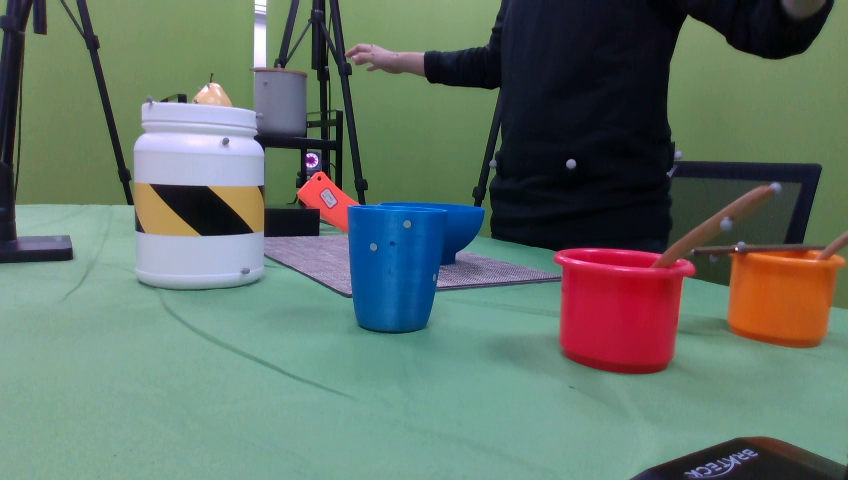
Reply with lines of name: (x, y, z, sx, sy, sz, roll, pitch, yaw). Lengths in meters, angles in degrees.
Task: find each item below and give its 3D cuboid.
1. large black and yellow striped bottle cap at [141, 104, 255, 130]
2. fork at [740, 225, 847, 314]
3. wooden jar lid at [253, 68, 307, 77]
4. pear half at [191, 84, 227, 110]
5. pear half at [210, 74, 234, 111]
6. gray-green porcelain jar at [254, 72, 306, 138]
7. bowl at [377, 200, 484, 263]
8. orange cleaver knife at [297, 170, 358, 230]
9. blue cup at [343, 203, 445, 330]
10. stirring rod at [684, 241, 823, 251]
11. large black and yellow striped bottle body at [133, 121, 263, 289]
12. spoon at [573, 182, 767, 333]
large black and yellow striped bottle cap: (-0.241, -0.131, 0.650, 0.115, 0.019, 0.115, 3, 8, 0)
fork: (0.323, 0.013, 0.485, 0.028, 0.018, 0.207, 8, -38, -5)
wooden jar lid: (-0.296, -0.339, 1.250, 0.108, 0.020, 0.108, 3, 10, 0)
pear half: (-0.405, -0.248, 1.128, 0.070, 0.088, 0.031, 6, 6, 2)
pear half: (-0.401, -0.262, 1.162, 0.076, 0.109, 0.056, 7, 7, 2)
gray-green porcelain jar: (-0.299, -0.277, 1.257, 0.106, 0.126, 0.106, 2, 8, 0)
bowl: (0.008, -0.012, 0.842, 0.151, 0.077, 0.151, 2, 7, 0)
orange cleaver knife: (-0.149, -0.058, 1.170, 0.212, 0.077, 0.012, 33, -15, -32)
blue cup: (-0.027, 0.021, 0.510, 0.093, 0.100, 0.092, 3, 5, 0)
stirring rod: (0.289, 0.005, 0.525, 0.177, 0.006, 0.014, -1, 5, -26)
large black and yellow striped bottle body: (-0.243, -0.048, 0.659, 0.131, 0.184, 0.130, 2, 7, 0)
spoon: (0.158, 0.020, 0.412, 0.042, 0.021, 0.193, -2, -35, -21)
